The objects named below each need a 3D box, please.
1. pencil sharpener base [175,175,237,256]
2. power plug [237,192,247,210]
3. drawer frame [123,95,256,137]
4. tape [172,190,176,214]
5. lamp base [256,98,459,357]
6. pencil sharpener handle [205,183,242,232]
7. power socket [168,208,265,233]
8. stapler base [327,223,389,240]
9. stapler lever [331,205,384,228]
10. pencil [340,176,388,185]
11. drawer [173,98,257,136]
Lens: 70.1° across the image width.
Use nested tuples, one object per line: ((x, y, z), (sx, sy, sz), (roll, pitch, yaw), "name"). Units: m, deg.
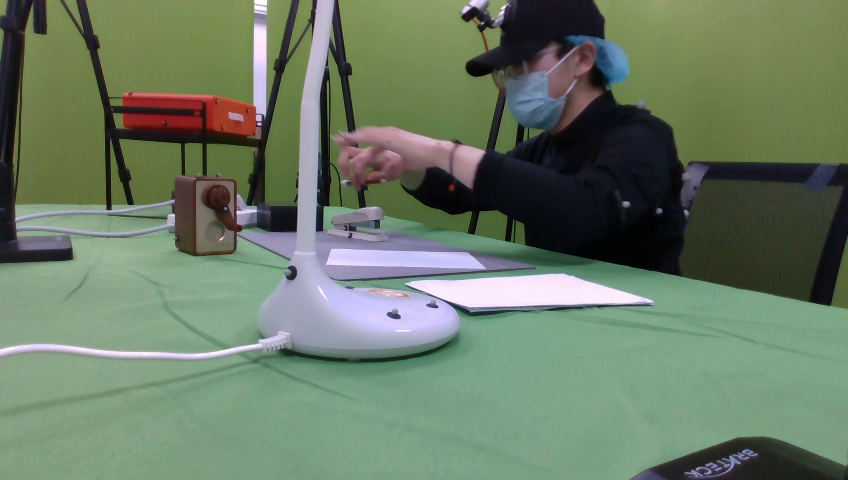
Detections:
((-0.304, -0.036, 0.847), (0.062, 0.107, 0.076), (-4, 10, -42), "pencil sharpener base")
((-0.386, -0.071, 1.204), (0.072, 0.052, 0.035), (7, 8, 26), "power plug")
((-0.524, -0.281, 1.376), (0.213, 0.082, 0.202), (3, 8, 8), "drawer frame")
((-0.515, -0.087, 1.388), (0.117, 0.052, 0.117), (3, 7, 0), "tape")
((-0.055, -0.013, 0.463), (0.160, 0.180, 0.180), (6, 11, 27), "lamp base")
((-0.265, -0.043, 0.812), (0.036, 0.068, 0.030), (-32, 28, -35), "pencil sharpener handle")
((-0.381, -0.038, 1.129), (0.072, 0.032, 0.227), (4, 8, 17), "power socket")
((-0.117, -0.018, 1.073), (0.130, 0.024, 0.041), (7, 7, 41), "stapler base")
((-0.118, -0.044, 1.070), (0.117, 0.040, 0.027), (7, 7, 41), "stapler lever")
((-0.109, -0.108, 1.085), (0.012, 0.012, 0.193), (-2, 4, -31), "pencil")
((-0.518, -0.279, 1.376), (0.211, 0.073, 0.195), (3, 8, 10), "drawer")
